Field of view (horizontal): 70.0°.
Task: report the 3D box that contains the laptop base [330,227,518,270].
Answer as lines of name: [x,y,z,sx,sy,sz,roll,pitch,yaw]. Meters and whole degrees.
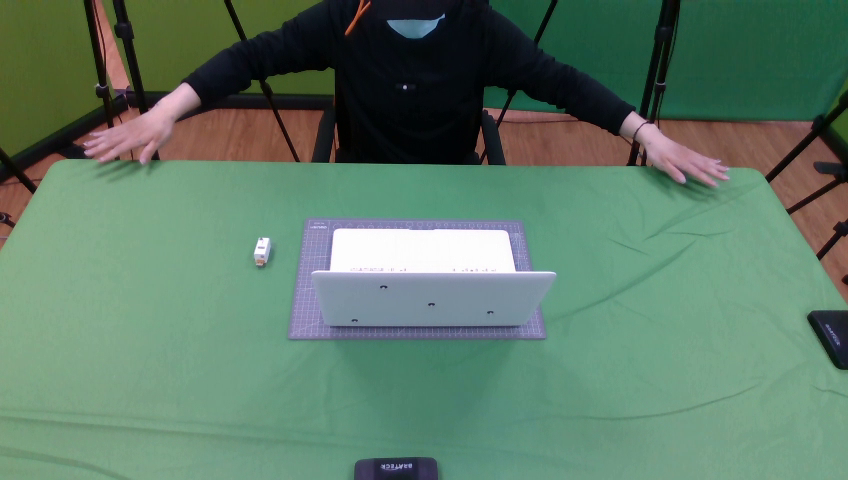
laptop base: [0.001,0.063,1.134,0.354,0.023,0.234,0,43,-3]

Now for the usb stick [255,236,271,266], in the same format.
usb stick: [-0.306,0.022,1.148,0.021,0.027,0.059,3,50,-2]

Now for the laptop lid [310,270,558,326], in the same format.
laptop lid: [0.011,0.095,0.948,0.357,0.242,0.013,1,64,-5]
